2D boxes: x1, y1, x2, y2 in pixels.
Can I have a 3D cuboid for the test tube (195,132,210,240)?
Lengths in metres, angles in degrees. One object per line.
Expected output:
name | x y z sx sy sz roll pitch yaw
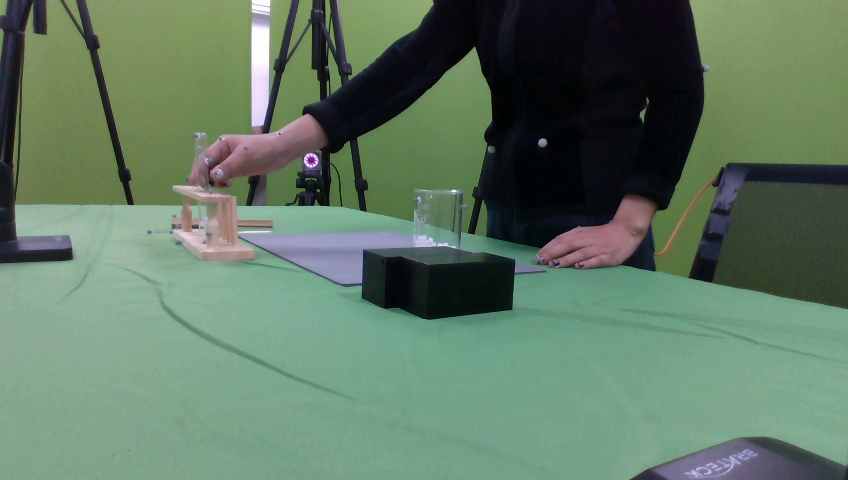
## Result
test tube | -0.307 -0.074 0.842 0.017 0.150 0.017 -2 2 0

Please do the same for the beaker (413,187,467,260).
beaker | 0.019 -0.025 0.878 0.074 0.100 0.083 -1 7 -27

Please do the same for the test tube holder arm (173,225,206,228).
test tube holder arm | -0.414 -0.030 1.113 0.088 0.015 0.010 -1 -22 -25

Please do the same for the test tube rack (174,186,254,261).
test tube rack | -0.314 -0.031 0.889 0.067 0.085 0.241 -2 8 -30

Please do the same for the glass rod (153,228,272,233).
glass rod | -0.368 -0.017 1.065 0.201 0.008 0.008 -2 8 -27

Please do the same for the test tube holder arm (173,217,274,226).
test tube holder arm | -0.371 -0.033 1.128 0.179 0.015 0.013 -1 -22 -25
